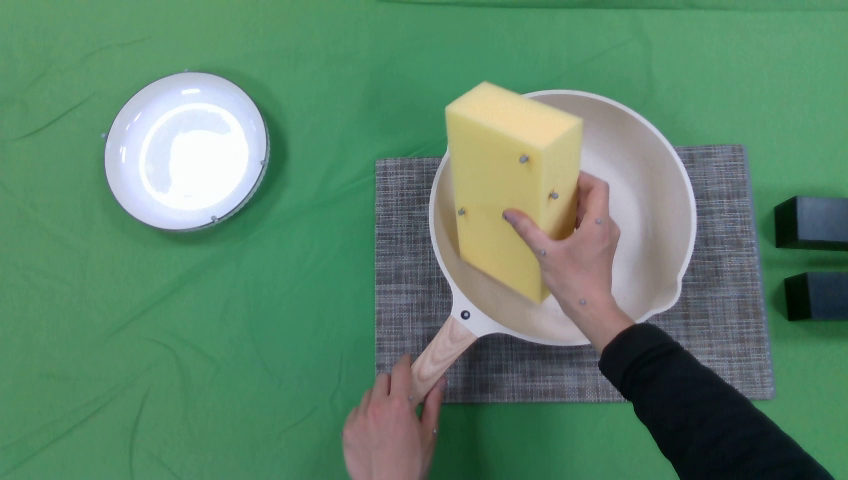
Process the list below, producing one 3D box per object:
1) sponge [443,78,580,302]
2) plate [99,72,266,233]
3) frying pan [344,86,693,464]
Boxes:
[{"bbox_3d":[0.089,-0.047,0.628,0.117,0.209,0.061,31,56,34],"label":"sponge"},{"bbox_3d":[-0.298,-0.107,0.763,0.207,0.039,0.206,-1,79,3],"label":"plate"},{"bbox_3d":[0.081,0.046,0.673,0.305,0.103,0.487,40,76,11],"label":"frying pan"}]
